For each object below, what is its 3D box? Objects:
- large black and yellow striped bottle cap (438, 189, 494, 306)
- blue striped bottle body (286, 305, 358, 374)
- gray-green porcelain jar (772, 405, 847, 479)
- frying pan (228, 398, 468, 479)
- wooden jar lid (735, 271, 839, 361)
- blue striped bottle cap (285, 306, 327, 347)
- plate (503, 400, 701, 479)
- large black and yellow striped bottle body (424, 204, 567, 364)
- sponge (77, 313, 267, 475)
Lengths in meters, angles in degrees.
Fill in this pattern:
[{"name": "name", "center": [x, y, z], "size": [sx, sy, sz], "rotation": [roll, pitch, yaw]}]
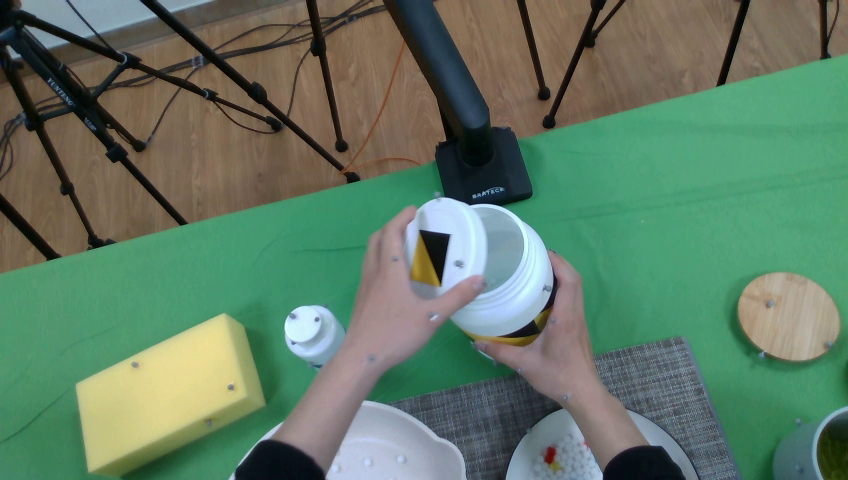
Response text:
[{"name": "large black and yellow striped bottle cap", "center": [0.040, 0.008, 0.579], "size": [0.019, 0.116, 0.114], "rotation": [-19, 63, 6]}, {"name": "blue striped bottle body", "center": [-0.125, 0.119, 0.733], "size": [0.063, 0.122, 0.062], "rotation": [-4, 64, 8]}, {"name": "gray-green porcelain jar", "center": [0.408, 0.223, 0.586], "size": [0.106, 0.127, 0.105], "rotation": [-4, 64, 9]}, {"name": "frying pan", "center": [-0.027, 0.388, 0.594], "size": [0.307, 0.104, 0.482], "rotation": [-35, 56, -6]}, {"name": "wooden jar lid", "center": [0.420, 0.089, 0.707], "size": [0.108, 0.021, 0.107], "rotation": [-4, 66, 9]}, {"name": "blue striped bottle cap", "center": [-0.134, 0.097, 0.686], "size": [0.044, 0.021, 0.044], "rotation": [-5, 62, 10]}, {"name": "plate", "center": [0.187, 0.278, 0.645], "size": [0.209, 0.038, 0.207], "rotation": [-4, 65, 9]}, {"name": "large black and yellow striped bottle body", "center": [0.082, 0.051, 0.677], "size": [0.130, 0.186, 0.129], "rotation": [-10, 59, 18]}, {"name": "sponge", "center": [-0.317, 0.194, 0.766], "size": [0.207, 0.061, 0.117], "rotation": [-26, 64, -3]}]
